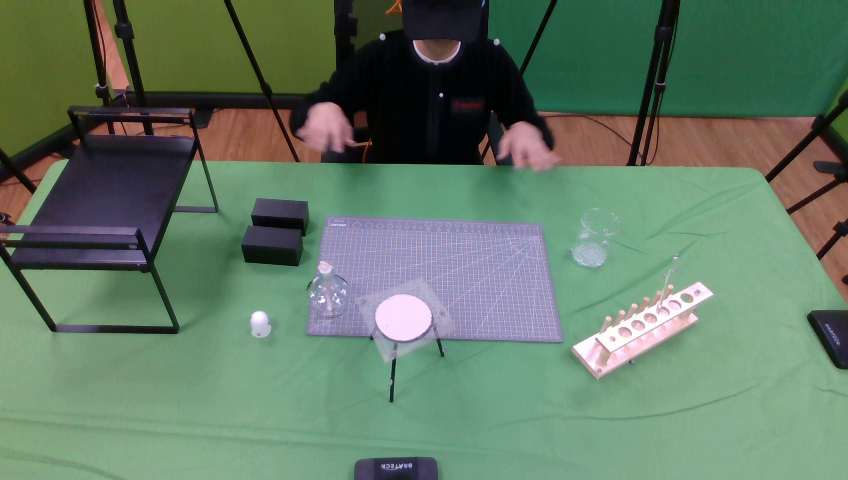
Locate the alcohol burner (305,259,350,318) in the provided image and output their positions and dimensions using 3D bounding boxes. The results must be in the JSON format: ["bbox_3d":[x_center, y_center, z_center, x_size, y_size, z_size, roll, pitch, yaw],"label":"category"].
[{"bbox_3d":[-0.166,0.078,1.040,0.078,0.120,0.077,1,44,-1],"label":"alcohol burner"}]

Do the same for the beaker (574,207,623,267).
[{"bbox_3d":[0.334,-0.003,1.165,0.084,0.101,0.073,-18,50,-21],"label":"beaker"}]

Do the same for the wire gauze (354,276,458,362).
[{"bbox_3d":[-0.029,0.113,0.912,0.121,0.011,0.124,-18,49,-19],"label":"wire gauze"}]

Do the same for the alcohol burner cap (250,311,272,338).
[{"bbox_3d":[-0.278,0.141,1.026,0.034,0.048,0.033,1,46,-1],"label":"alcohol burner cap"}]

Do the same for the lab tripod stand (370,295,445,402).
[{"bbox_3d":[-0.036,0.160,0.959,0.148,0.132,0.147,1,46,0],"label":"lab tripod stand"}]

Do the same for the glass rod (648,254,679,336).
[{"bbox_3d":[0.391,0.094,0.991,0.008,0.201,0.008,-2,44,2],"label":"glass rod"}]

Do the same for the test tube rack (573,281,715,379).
[{"bbox_3d":[0.378,0.140,1.038,0.242,0.085,0.066,-22,51,-22],"label":"test tube rack"}]
